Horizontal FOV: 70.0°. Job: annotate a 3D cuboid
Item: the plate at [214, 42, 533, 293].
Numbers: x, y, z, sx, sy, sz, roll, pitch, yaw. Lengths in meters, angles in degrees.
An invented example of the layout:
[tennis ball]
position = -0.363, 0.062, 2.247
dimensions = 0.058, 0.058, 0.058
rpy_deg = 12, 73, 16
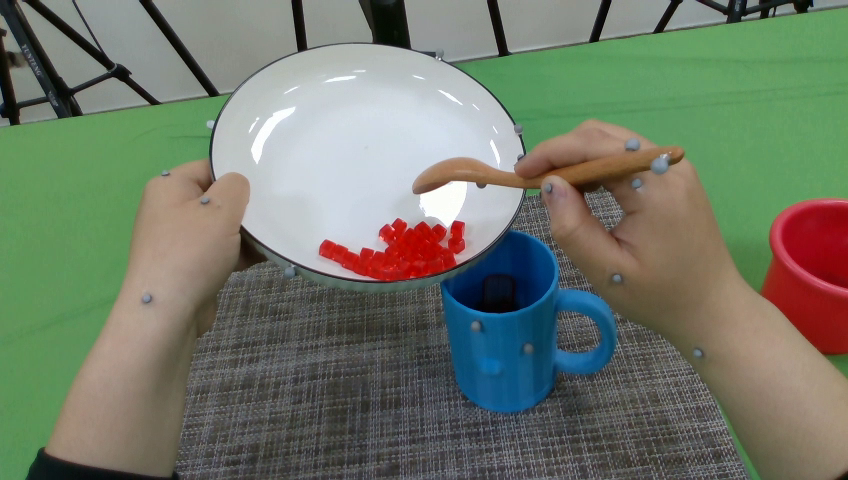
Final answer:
[plate]
position = -0.031, -0.052, 0.412
dimensions = 0.208, 0.039, 0.205
rpy_deg = 4, 57, -6

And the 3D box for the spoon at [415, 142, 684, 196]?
[spoon]
position = 0.051, -0.034, 0.314
dimensions = 0.042, 0.022, 0.192
rpy_deg = -20, 14, -29

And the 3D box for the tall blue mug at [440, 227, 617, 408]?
[tall blue mug]
position = 0.069, 0.052, 0.418
dimensions = 0.107, 0.109, 0.077
rpy_deg = -12, 43, -2
